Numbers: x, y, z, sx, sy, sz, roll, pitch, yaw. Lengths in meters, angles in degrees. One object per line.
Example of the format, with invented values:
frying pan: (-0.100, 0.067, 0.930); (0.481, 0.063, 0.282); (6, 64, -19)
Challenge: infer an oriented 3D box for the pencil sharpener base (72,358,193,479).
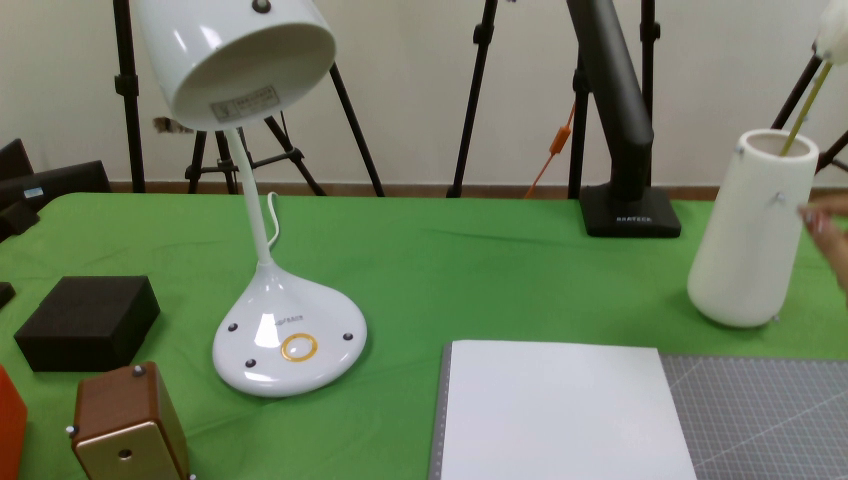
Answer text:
pencil sharpener base: (-0.232, 0.160, 0.490); (0.061, 0.108, 0.076); (-15, 36, -17)

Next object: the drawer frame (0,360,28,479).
drawer frame: (-0.429, 0.209, 0.449); (0.202, 0.083, 0.211); (-16, 35, -18)

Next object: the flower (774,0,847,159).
flower: (0.325, -0.065, 0.565); (0.038, 0.365, 0.043); (-33, 57, -20)

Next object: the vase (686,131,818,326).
vase: (0.337, -0.008, 0.628); (0.098, 0.201, 0.097); (-2, 33, 2)

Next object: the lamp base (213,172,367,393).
lamp base: (-0.152, 0.032, 0.612); (0.161, 0.182, 0.177); (-21, 36, -26)

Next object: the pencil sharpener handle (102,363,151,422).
pencil sharpener handle: (-0.253, 0.125, 0.522); (0.036, 0.068, 0.030); (-10, 34, -21)

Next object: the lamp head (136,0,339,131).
lamp head: (-0.130, -0.145, 0.388); (0.112, 0.112, 0.122); (-26, 78, -30)

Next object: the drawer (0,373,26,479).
drawer: (-0.426, 0.212, 0.448); (0.195, 0.074, 0.209); (-15, 35, -17)
